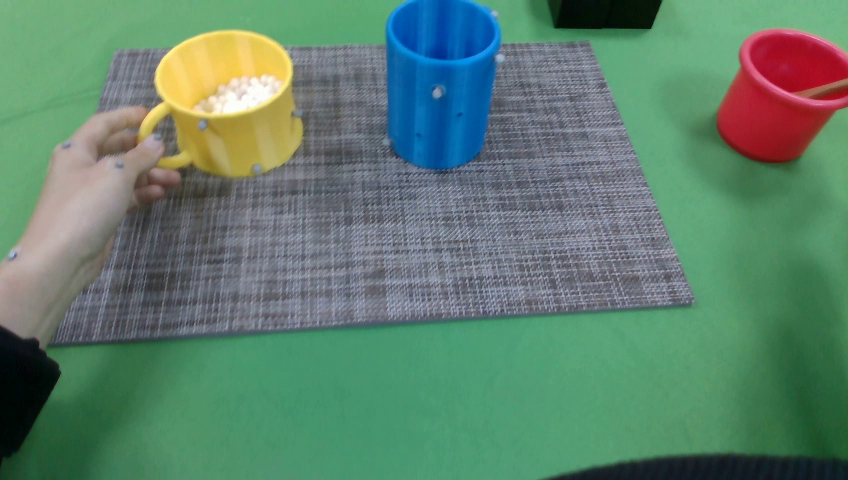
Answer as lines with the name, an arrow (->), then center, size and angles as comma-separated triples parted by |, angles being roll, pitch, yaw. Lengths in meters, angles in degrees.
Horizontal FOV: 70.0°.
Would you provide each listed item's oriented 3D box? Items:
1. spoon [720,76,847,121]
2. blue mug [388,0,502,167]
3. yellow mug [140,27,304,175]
spoon -> 0.335, -0.122, 0.478 | 0.041, 0.193, 0.022 | -45, 113, -33
blue mug -> 0.023, -0.132, 0.481 | 0.082, 0.107, 0.116 | 34, 59, 19
yellow mug -> -0.159, -0.101, 0.470 | 0.099, 0.064, 0.130 | 39, 62, 21
